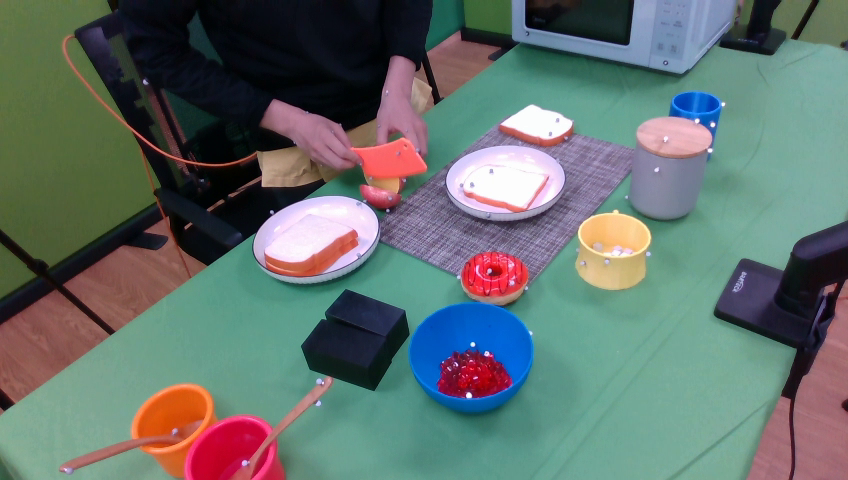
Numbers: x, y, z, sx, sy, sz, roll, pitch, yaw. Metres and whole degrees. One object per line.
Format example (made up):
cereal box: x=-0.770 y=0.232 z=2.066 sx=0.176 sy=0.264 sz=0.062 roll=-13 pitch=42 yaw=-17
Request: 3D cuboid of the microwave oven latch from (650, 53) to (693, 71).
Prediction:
microwave oven latch: x=0.531 y=-0.386 z=1.301 sx=0.078 sy=0.029 sz=0.030 roll=26 pitch=51 yaw=33

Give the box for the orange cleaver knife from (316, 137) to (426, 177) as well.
orange cleaver knife: x=-0.094 y=-0.139 z=1.044 sx=0.210 sy=0.077 sz=0.012 roll=2 pitch=43 yaw=31

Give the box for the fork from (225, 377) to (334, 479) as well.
fork: x=-0.163 y=0.216 z=0.646 sx=0.207 sy=0.019 sz=0.028 roll=-49 pitch=42 yaw=16

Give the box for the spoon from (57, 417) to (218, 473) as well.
spoon: x=-0.304 y=0.221 z=0.661 sx=0.041 sy=0.195 sz=0.021 roll=19 pitch=92 yaw=27

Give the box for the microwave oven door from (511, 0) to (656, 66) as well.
microwave oven door: x=0.350 y=-0.539 z=1.348 sx=0.353 sy=0.245 sz=0.039 roll=24 pitch=50 yaw=31

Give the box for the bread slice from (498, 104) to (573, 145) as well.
bread slice: x=0.231 y=-0.232 z=1.205 sx=0.105 sy=0.019 sz=0.130 roll=-36 pitch=47 yaw=-29

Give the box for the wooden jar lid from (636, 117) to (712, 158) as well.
wooden jar lid: x=0.377 y=-0.151 z=0.917 sx=0.108 sy=0.021 sz=0.108 roll=-2 pitch=42 yaw=3

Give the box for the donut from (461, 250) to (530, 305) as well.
donut: x=0.103 y=0.053 z=0.872 sx=0.099 sy=0.048 sz=0.098 roll=-4 pitch=40 yaw=4

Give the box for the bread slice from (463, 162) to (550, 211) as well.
bread slice: x=0.135 y=-0.094 z=1.045 sx=0.133 sy=0.018 sz=0.107 roll=15 pitch=45 yaw=23

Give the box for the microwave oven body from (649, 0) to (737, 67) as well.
microwave oven body: x=0.475 y=-0.602 z=1.411 sx=0.438 sy=0.261 sz=0.327 roll=23 pitch=50 yaw=32

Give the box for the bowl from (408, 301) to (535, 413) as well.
bowl: x=0.060 y=0.156 z=0.739 sx=0.151 sy=0.077 sz=0.150 roll=-4 pitch=40 yaw=4

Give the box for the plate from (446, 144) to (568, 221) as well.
plate: x=0.142 y=-0.096 z=1.045 sx=0.207 sy=0.039 sz=0.206 roll=-4 pitch=40 yaw=4

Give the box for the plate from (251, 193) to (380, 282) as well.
plate: x=-0.173 y=-0.001 z=0.984 sx=0.209 sy=0.038 sz=0.208 roll=-4 pitch=41 yaw=4

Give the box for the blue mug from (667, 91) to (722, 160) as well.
blue mug: x=0.474 y=-0.207 z=1.079 sx=0.082 sy=0.106 sz=0.116 roll=4 pitch=42 yaw=13

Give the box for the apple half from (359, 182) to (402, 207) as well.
apple half: x=-0.077 y=-0.073 z=1.051 sx=0.081 sy=0.082 sz=0.033 roll=13 pitch=83 yaw=22

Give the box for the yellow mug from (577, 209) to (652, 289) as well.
yellow mug: x=0.279 y=0.004 z=0.893 sx=0.099 sy=0.064 sz=0.130 roll=5 pitch=41 yaw=15

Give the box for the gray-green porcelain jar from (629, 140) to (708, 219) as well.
gray-green porcelain jar: x=0.383 y=-0.105 z=0.958 sx=0.106 sy=0.127 sz=0.105 roll=-4 pitch=41 yaw=4

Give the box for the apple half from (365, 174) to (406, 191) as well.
apple half: x=-0.064 y=-0.128 z=1.091 sx=0.080 sy=0.075 sz=0.053 roll=15 pitch=44 yaw=30
